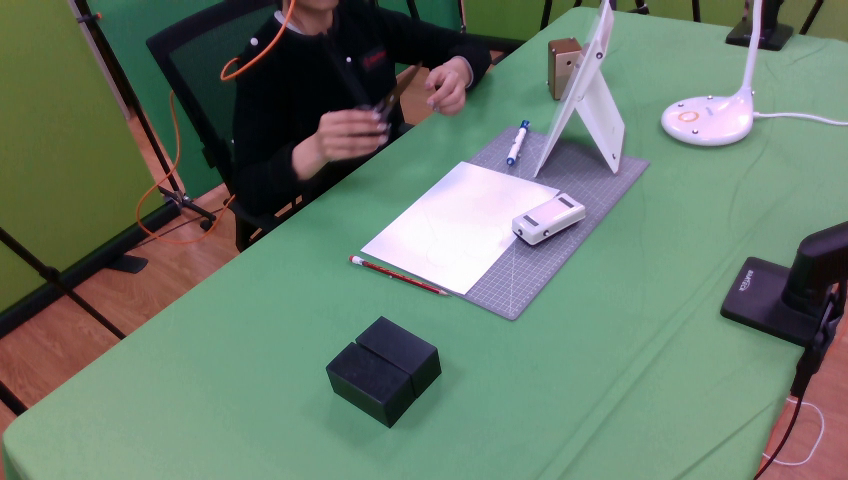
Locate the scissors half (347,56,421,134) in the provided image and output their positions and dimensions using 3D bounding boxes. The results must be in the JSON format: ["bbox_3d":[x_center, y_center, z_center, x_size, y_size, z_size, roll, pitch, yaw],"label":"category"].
[{"bbox_3d":[-0.066,-0.235,0.974,0.174,0.040,0.013,-37,23,26],"label":"scissors half"}]

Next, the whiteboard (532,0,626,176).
[{"bbox_3d":[0.320,-0.258,1.050,0.144,0.306,0.217,21,45,5],"label":"whiteboard"}]

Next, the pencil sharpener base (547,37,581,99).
[{"bbox_3d":[0.299,-0.368,1.290,0.061,0.107,0.076,-8,40,2],"label":"pencil sharpener base"}]

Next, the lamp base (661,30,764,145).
[{"bbox_3d":[0.535,-0.287,1.096,0.179,0.181,0.159,-10,40,-4],"label":"lamp base"}]

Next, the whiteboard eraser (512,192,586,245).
[{"bbox_3d":[0.199,-0.032,0.962,0.113,0.042,0.055,-27,43,-20],"label":"whiteboard eraser"}]

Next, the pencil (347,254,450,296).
[{"bbox_3d":[-0.042,0.055,0.934,0.192,0.012,0.012,19,48,27],"label":"pencil"}]

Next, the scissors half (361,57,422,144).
[{"bbox_3d":[-0.050,-0.223,0.978,0.040,0.175,0.013,31,31,-8],"label":"scissors half"}]

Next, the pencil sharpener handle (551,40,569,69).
[{"bbox_3d":[0.291,-0.409,1.320,0.036,0.068,0.030,2,40,-6],"label":"pencil sharpener handle"}]

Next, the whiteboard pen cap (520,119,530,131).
[{"bbox_3d":[0.200,-0.226,1.204,0.018,0.018,0.033,7,42,18],"label":"whiteboard pen cap"}]

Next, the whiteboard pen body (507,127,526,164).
[{"bbox_3d":[0.181,-0.189,1.162,0.017,0.017,0.140,8,42,19],"label":"whiteboard pen body"}]
